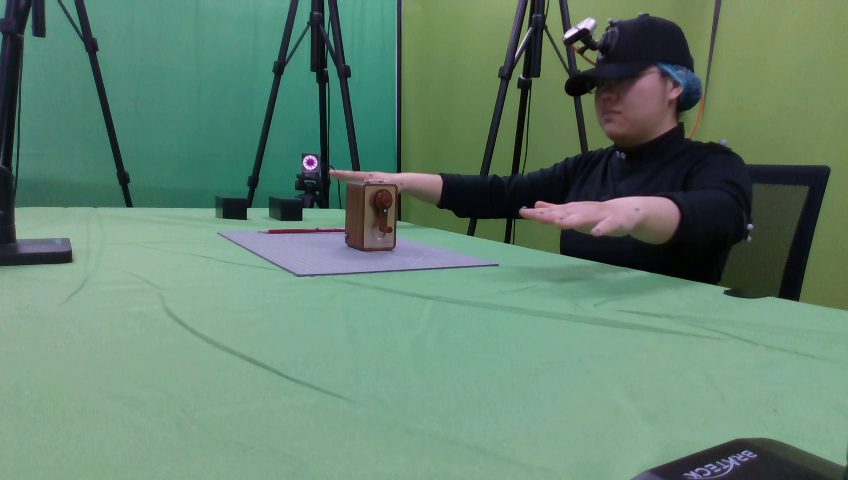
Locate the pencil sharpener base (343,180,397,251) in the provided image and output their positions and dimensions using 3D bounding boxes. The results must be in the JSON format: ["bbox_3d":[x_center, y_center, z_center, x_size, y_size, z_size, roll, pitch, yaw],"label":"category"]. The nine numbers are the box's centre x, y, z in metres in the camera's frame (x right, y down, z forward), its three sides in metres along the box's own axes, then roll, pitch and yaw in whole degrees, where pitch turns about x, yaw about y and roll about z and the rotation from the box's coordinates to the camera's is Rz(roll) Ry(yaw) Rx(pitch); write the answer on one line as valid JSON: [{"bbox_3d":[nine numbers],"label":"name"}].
[{"bbox_3d":[-0.085,-0.039,0.958,0.062,0.107,0.076,-1,8,-31],"label":"pencil sharpener base"}]

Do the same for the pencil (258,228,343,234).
[{"bbox_3d":[-0.213,-0.017,1.131,0.195,0.012,0.012,-2,8,-26],"label":"pencil"}]

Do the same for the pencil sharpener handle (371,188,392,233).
[{"bbox_3d":[-0.059,-0.044,0.913,0.036,0.067,0.030,1,7,-31],"label":"pencil sharpener handle"}]
